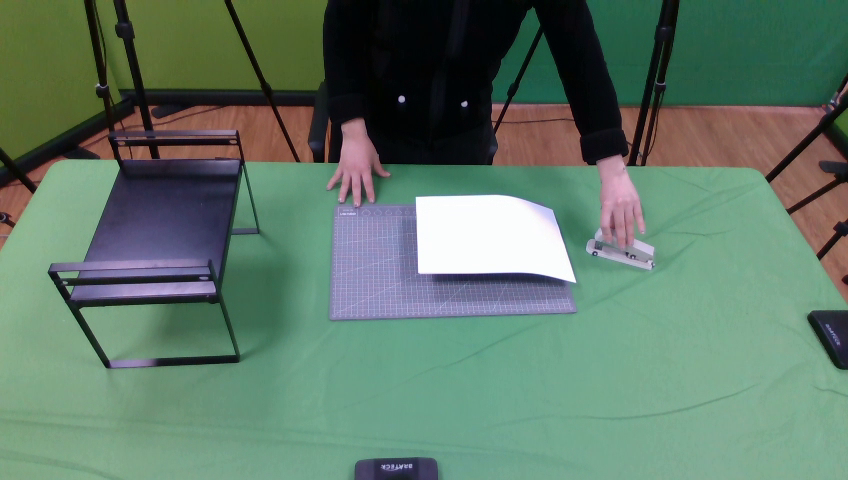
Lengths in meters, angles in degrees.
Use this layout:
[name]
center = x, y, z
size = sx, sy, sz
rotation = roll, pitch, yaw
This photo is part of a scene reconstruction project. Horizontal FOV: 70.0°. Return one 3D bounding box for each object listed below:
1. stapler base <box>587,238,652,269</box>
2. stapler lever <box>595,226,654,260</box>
[stapler base]
center = 0.392, 0.021, 1.205
size = 0.130, 0.024, 0.041
rotation = 17, 49, 10
[stapler lever]
center = 0.395, 0.005, 1.188
size = 0.118, 0.040, 0.026
rotation = 16, 49, 11
